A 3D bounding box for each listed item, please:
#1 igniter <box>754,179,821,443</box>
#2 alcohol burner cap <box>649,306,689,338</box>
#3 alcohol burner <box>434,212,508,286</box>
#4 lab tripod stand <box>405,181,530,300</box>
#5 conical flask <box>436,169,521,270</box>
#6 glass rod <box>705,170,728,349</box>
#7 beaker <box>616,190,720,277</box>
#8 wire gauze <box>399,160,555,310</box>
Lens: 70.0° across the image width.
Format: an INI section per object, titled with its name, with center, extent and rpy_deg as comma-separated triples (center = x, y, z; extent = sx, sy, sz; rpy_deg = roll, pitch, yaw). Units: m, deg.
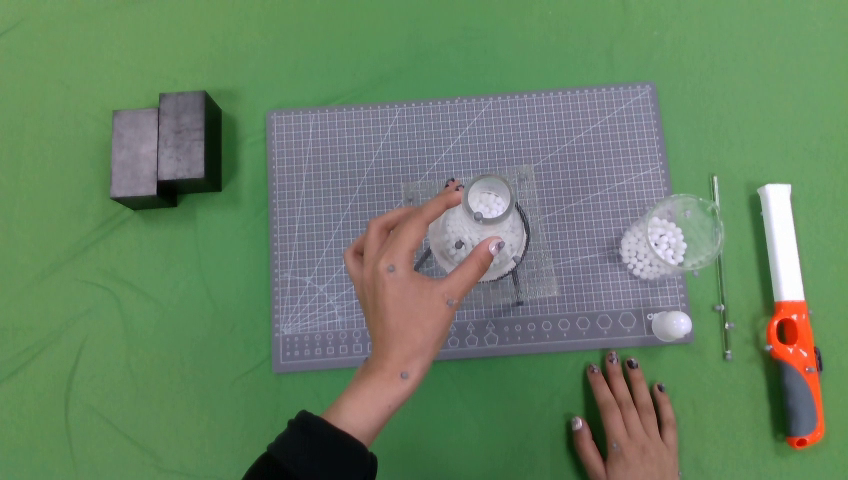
[igniter]
center = 0.383, 0.071, 0.640
extent = 0.057, 0.025, 0.275
rpy_deg = 0, 80, -9
[alcohol burner cap]
center = 0.257, 0.084, 0.630
extent = 0.034, 0.048, 0.033
rpy_deg = 0, 79, 2
[alcohol burner]
center = 0.048, 0.006, 0.612
extent = 0.078, 0.119, 0.077
rpy_deg = -1, 77, 3
[lab tripod stand]
center = 0.048, 0.006, 0.601
extent = 0.148, 0.132, 0.148
rpy_deg = 0, 81, 2
[conical flask]
center = 0.046, -0.021, 0.479
extent = 0.075, 0.122, 0.075
rpy_deg = 0, 79, 2
[glass rod]
center = 0.320, 0.019, 0.662
extent = 0.008, 0.008, 0.199
rpy_deg = 0, 79, 1
[beaker]
center = 0.245, -0.004, 0.617
extent = 0.084, 0.100, 0.074
rpy_deg = -41, 81, -7
[wire gauze]
center = 0.046, -0.005, 0.536
extent = 0.125, 0.011, 0.121
rpy_deg = -8, 82, -3
